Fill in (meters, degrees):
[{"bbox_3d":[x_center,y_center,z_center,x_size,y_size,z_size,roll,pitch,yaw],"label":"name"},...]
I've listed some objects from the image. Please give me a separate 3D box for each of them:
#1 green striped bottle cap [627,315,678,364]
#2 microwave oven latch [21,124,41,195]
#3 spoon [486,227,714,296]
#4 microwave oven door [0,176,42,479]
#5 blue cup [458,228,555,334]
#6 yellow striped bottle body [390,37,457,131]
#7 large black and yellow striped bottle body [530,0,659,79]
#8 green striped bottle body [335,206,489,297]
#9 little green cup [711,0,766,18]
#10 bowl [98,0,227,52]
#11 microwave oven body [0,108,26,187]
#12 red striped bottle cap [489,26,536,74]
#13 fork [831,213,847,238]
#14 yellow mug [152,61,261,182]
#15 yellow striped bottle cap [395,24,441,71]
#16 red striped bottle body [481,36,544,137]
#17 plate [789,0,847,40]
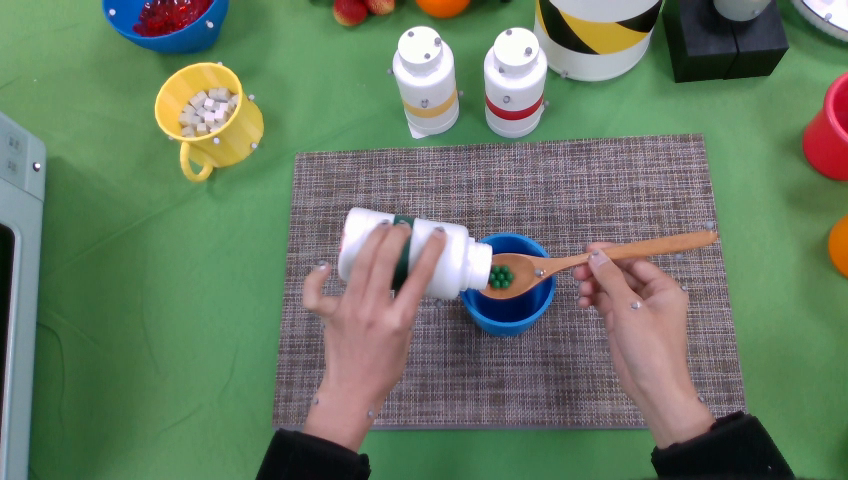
[{"bbox_3d":[0.218,0.095,0.578,0.044,0.020,0.044,-2,67,5],"label":"green striped bottle cap"},{"bbox_3d":[-0.458,-0.089,0.690,0.030,0.030,0.078,-9,71,3],"label":"microwave oven latch"},{"bbox_3d":[0.131,0.014,0.492,0.193,0.022,0.041,-13,66,23],"label":"spoon"},{"bbox_3d":[-0.436,0.080,0.521,0.039,0.245,0.353,-11,70,3],"label":"microwave oven door"},{"bbox_3d":[0.074,0.047,0.565,0.092,0.101,0.092,-2,69,4],"label":"blue cup"},{"bbox_3d":[0.000,-0.172,0.643,0.063,0.121,0.062,-2,70,7],"label":"yellow striped bottle body"},{"bbox_3d":[0.179,-0.270,0.623,0.130,0.185,0.130,-2,70,6],"label":"large black and yellow striped bottle body"},{"bbox_3d":[-0.008,0.011,0.496,0.119,0.063,0.063,8,72,1],"label":"green striped bottle body"},{"bbox_3d":[0.330,-0.263,0.627,0.061,0.039,0.061,-2,69,5],"label":"little green cup"},{"bbox_3d":[-0.302,-0.284,0.739,0.151,0.077,0.150,-2,71,5],"label":"bowl"},{"bbox_3d":[-0.585,0.070,0.547,0.326,0.262,0.438,-11,71,2],"label":"microwave oven body"},{"bbox_3d":[0.085,-0.183,0.581,0.044,0.018,0.044,-1,69,2],"label":"red striped bottle cap"},{"bbox_3d":[0.449,0.013,0.513,0.028,0.019,0.205,-40,27,-7],"label":"fork"},{"bbox_3d":[-0.248,-0.128,0.685,0.100,0.064,0.130,8,72,8],"label":"yellow mug"},{"bbox_3d":[-0.006,-0.189,0.595,0.044,0.019,0.044,-2,72,5],"label":"yellow striped bottle cap"},{"bbox_3d":[0.093,-0.164,0.630,0.063,0.120,0.062,-4,68,10],"label":"red striped bottle body"},{"bbox_3d":[0.499,-0.301,0.675,0.209,0.038,0.207,-2,71,6],"label":"plate"}]
